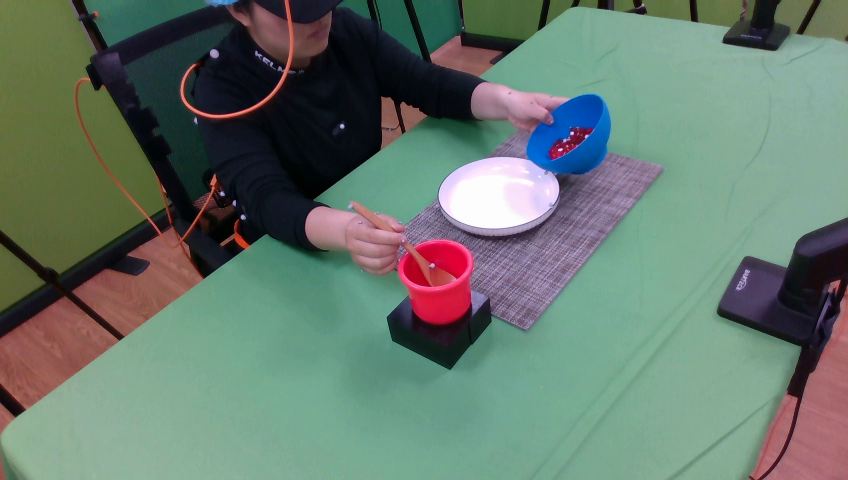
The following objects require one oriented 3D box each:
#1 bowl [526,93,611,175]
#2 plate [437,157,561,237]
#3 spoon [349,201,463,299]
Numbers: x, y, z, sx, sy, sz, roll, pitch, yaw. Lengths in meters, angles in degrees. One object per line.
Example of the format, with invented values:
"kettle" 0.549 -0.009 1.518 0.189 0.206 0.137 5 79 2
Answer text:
"bowl" 0.255 -0.163 1.010 0.151 0.077 0.150 -34 31 25
"plate" 0.127 -0.070 1.024 0.207 0.039 0.206 -5 40 5
"spoon" -0.022 0.012 0.786 0.021 0.195 0.041 -30 23 42
